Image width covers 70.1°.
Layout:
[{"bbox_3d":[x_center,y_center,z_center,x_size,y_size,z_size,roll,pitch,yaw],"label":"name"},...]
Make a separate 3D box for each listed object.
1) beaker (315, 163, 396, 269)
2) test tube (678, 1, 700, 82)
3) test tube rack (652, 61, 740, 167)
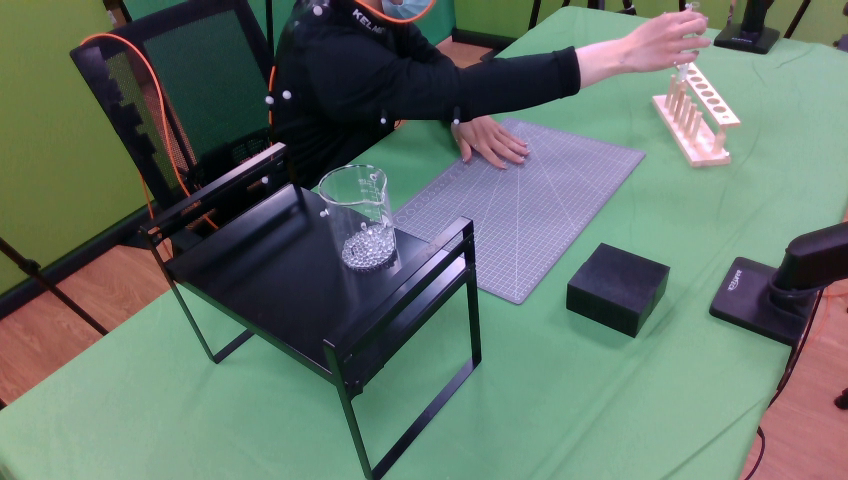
[{"bbox_3d":[-0.069,-0.024,0.671,0.083,0.101,0.074,27,52,33],"label":"beaker"},{"bbox_3d":[0.455,-0.337,1.041,0.017,0.151,0.017,-6,48,7],"label":"test tube"},{"bbox_3d":[0.499,-0.241,1.130,0.067,0.085,0.241,-5,41,4],"label":"test tube rack"}]
